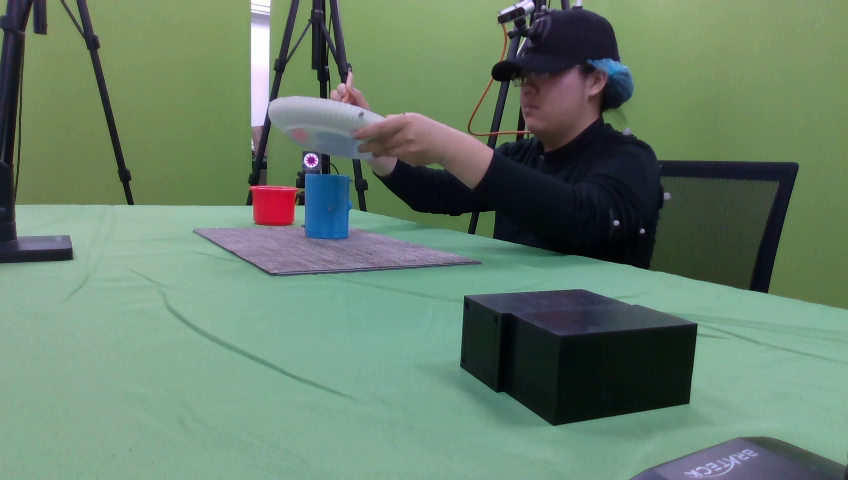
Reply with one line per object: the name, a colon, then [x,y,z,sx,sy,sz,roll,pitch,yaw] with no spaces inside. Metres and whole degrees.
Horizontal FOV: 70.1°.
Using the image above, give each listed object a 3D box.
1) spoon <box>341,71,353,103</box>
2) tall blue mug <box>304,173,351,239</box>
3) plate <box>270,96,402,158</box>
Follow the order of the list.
spoon: [-0.148,-0.256,1.105,0.021,0.042,0.193,-10,42,21]
tall blue mug: [-0.178,-0.063,1.062,0.078,0.108,0.106,-4,10,-38]
plate: [-0.139,-0.168,0.949,0.208,0.039,0.207,9,-7,1]
